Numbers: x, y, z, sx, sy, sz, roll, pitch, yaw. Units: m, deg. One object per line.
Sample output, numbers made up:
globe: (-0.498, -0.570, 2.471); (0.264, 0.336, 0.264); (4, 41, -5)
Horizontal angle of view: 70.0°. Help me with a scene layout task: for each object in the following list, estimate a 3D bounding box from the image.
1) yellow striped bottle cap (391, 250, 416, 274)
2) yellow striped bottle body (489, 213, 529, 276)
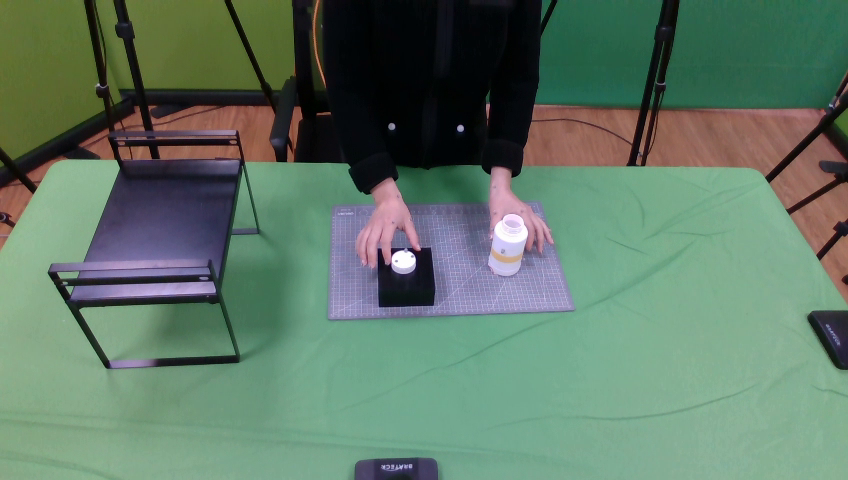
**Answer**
yellow striped bottle cap: (-0.037, 0.039, 1.087); (0.044, 0.019, 0.044); (1, 43, -1)
yellow striped bottle body: (0.159, 0.005, 1.130); (0.063, 0.121, 0.062); (2, 46, -2)
